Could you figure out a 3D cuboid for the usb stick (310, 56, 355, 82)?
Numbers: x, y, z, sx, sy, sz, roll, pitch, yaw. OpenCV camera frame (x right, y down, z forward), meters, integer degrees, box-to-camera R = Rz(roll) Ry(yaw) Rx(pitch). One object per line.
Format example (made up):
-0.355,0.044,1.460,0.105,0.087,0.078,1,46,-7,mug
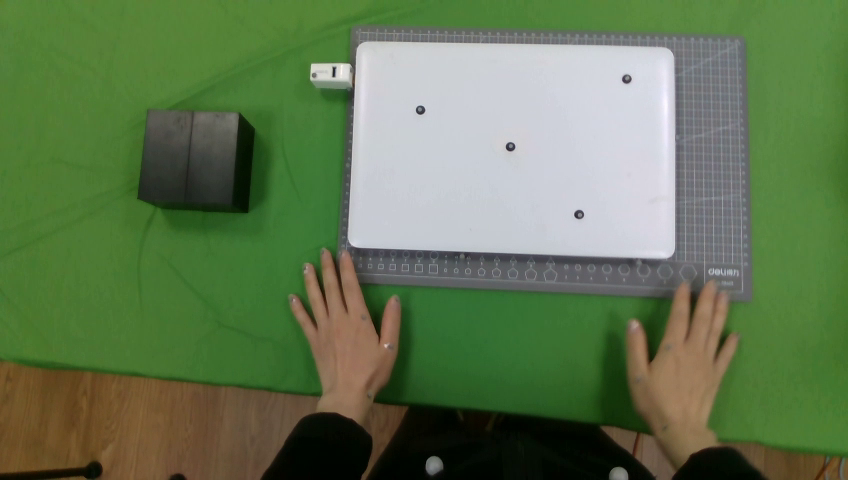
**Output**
-0.096,-0.191,0.678,0.059,0.027,0.021,3,83,3,usb stick

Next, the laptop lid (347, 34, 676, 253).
0.095,-0.108,0.660,0.356,0.013,0.241,4,85,2,laptop lid

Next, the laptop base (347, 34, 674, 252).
0.095,-0.109,0.672,0.354,0.023,0.235,2,86,2,laptop base
